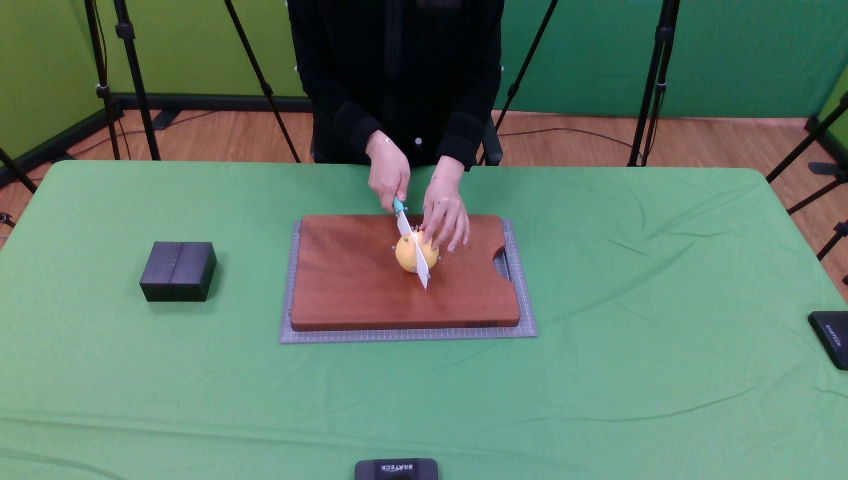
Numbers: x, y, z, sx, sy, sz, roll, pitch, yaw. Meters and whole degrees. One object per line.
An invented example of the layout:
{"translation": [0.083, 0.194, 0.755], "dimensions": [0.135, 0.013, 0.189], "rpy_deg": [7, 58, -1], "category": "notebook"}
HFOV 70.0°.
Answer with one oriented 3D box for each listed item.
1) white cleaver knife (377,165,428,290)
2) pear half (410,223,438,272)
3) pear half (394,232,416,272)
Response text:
{"translation": [-0.044, -0.030, 1.115], "dimensions": [0.021, 0.066, 0.284], "rpy_deg": [-8, 51, -18], "category": "white cleaver knife"}
{"translation": [-0.001, 0.006, 1.092], "dimensions": [0.056, 0.110, 0.076], "rpy_deg": [-17, 55, -22], "category": "pear half"}
{"translation": [-0.036, 0.022, 1.089], "dimensions": [0.031, 0.088, 0.070], "rpy_deg": [-20, 55, -16], "category": "pear half"}
